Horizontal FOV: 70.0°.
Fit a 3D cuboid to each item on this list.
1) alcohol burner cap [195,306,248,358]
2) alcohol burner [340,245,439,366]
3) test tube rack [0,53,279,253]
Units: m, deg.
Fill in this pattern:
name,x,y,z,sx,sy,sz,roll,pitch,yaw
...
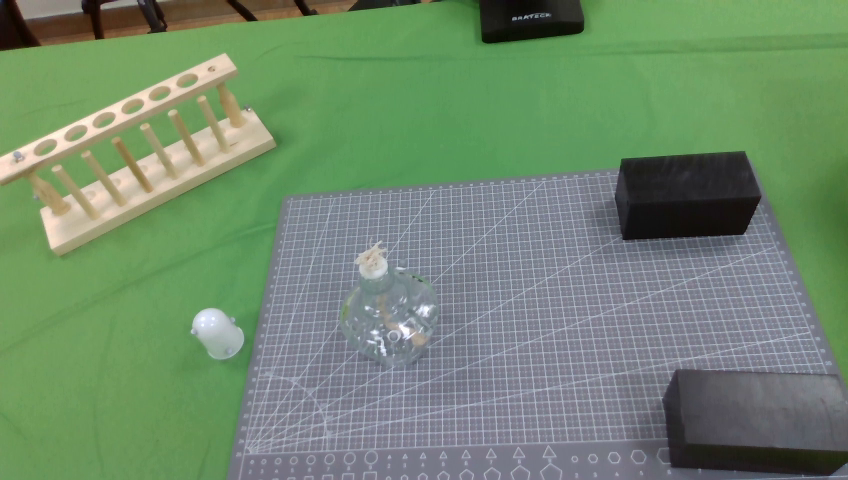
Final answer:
name,x,y,z,sx,sy,sz,roll,pitch,yaw
alcohol burner cap,-0.171,0.074,0.505,0.034,0.048,0.033,-5,53,7
alcohol burner,-0.029,0.045,0.455,0.078,0.120,0.077,-5,51,6
test tube rack,-0.282,-0.090,0.617,0.242,0.086,0.066,-30,55,-13
